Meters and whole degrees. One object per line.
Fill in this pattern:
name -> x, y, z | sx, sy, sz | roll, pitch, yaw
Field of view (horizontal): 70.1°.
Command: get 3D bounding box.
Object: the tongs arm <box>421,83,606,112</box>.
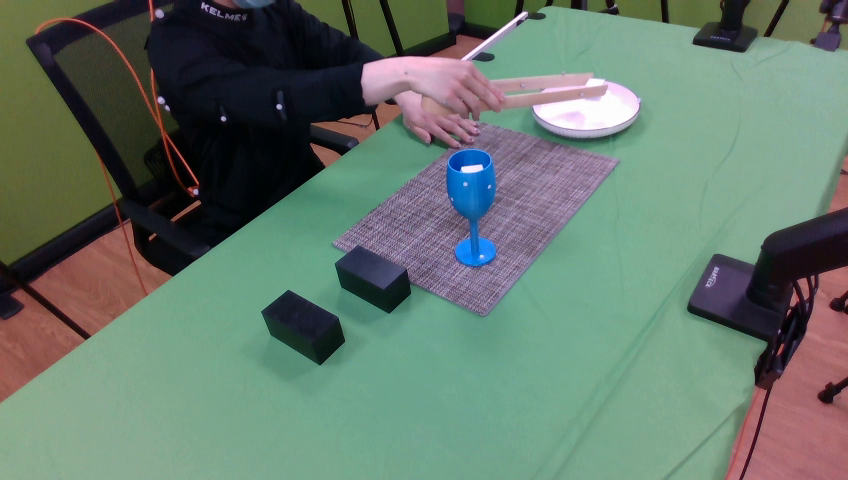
tongs arm -> 0.174, -0.259, 1.084 | 0.390, 0.028, 0.028 | -11, 47, -25

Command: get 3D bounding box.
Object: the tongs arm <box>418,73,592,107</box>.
tongs arm -> 0.162, -0.276, 1.103 | 0.387, 0.026, 0.050 | -9, 43, -23

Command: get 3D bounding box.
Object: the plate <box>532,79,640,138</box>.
plate -> 0.322, -0.259, 1.212 | 0.209, 0.038, 0.208 | -4, 40, 4

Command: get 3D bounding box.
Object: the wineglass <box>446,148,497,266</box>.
wineglass -> 0.072, -0.046, 0.889 | 0.074, 0.173, 0.073 | -4, 41, 4
